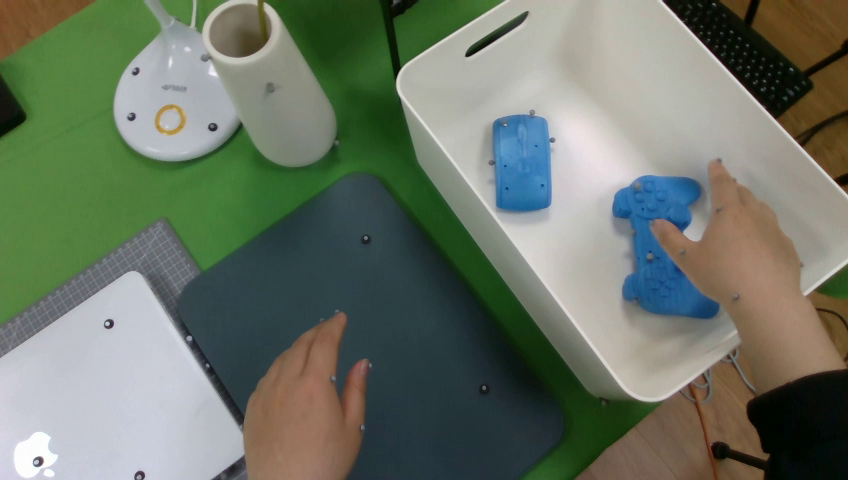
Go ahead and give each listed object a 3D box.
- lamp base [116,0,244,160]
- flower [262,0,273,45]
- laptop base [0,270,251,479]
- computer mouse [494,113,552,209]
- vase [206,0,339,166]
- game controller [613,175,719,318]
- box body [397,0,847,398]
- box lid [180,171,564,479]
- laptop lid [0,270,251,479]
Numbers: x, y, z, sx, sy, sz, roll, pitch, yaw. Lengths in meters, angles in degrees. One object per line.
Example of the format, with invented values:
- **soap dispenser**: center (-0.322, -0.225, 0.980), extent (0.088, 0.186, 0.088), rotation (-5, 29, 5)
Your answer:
- **lamp base**: center (-0.291, -0.204, 0.652), extent (0.160, 0.181, 0.178), rotation (-4, 70, 2)
- **flower**: center (-0.140, -0.190, 0.545), extent (0.038, 0.364, 0.043), rotation (-23, 63, -22)
- **laptop base**: center (-0.378, 0.219, 0.612), extent (0.354, 0.023, 0.234), rotation (-36, 79, -8)
- **computer mouse**: center (0.109, -0.090, 0.668), extent (0.063, 0.041, 0.116), rotation (0, 69, 6)
- **vase**: center (-0.152, -0.153, 0.621), extent (0.098, 0.201, 0.097), rotation (-1, 72, 5)
- **game controller**: center (0.251, 0.003, 0.629), extent (0.097, 0.052, 0.154), rotation (-2, 72, 6)
- **box body**: center (0.175, -0.055, 0.596), extent (0.254, 0.161, 0.362), rotation (-34, 75, -7)
- **box lid**: center (-0.062, 0.121, 0.631), extent (0.263, 0.015, 0.369), rotation (-36, 75, -9)
- **laptop lid**: center (-0.377, 0.218, 0.600), extent (0.357, 0.013, 0.240), rotation (-34, 77, -8)
